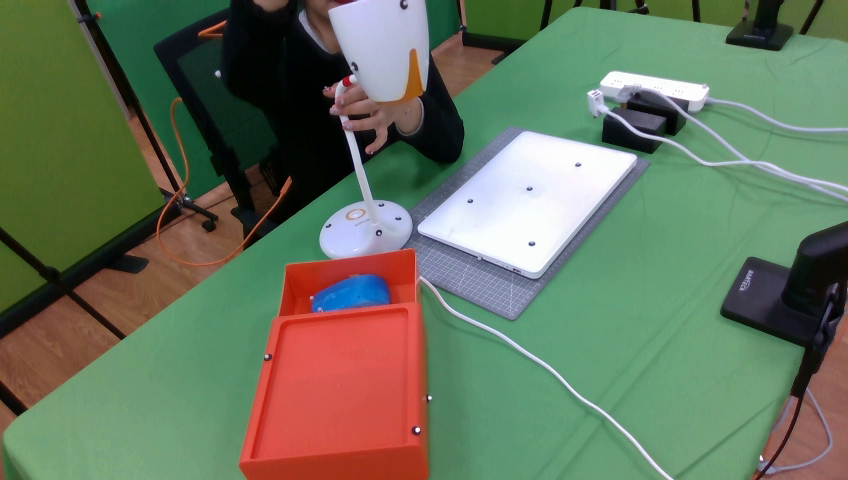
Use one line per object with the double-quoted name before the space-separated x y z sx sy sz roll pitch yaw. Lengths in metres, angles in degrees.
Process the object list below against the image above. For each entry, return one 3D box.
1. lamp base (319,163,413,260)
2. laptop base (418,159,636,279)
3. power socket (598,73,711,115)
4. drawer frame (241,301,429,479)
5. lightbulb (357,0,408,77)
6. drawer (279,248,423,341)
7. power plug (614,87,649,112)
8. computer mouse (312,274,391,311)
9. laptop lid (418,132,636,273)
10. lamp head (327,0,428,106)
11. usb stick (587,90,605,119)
"lamp base" -0.102 -0.068 0.962 0.161 0.181 0.177 -31 46 -21
"laptop base" 0.185 -0.074 1.042 0.233 0.023 0.355 19 48 35
"power socket" 0.469 -0.304 1.249 0.225 0.033 0.072 20 49 30
"drawer frame" -0.096 0.183 0.741 0.202 0.083 0.212 -6 40 3
"lightbulb" -0.045 -0.245 0.702 0.059 0.108 0.059 -7 15 2
"drawer" -0.100 0.115 0.828 0.194 0.073 0.210 -7 40 2
"power plug" 0.406 -0.275 1.192 0.035 0.053 0.072 -16 24 -15
"computer mouse" -0.107 0.086 0.885 0.117 0.041 0.062 -14 40 0
"laptop lid" 0.182 -0.084 1.036 0.239 0.013 0.358 22 49 35
"lamp head" -0.046 -0.220 0.711 0.112 0.123 0.112 -9 24 4
"usb stick" 0.334 -0.258 1.170 0.021 0.059 0.027 -29 44 -6
